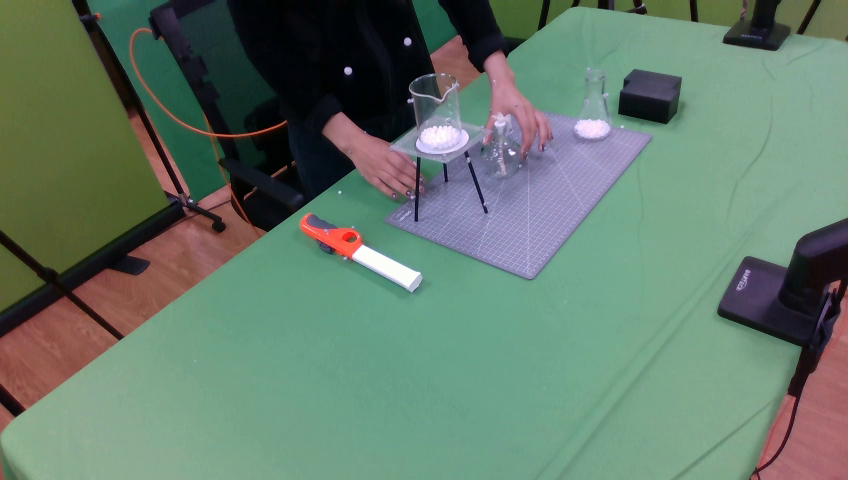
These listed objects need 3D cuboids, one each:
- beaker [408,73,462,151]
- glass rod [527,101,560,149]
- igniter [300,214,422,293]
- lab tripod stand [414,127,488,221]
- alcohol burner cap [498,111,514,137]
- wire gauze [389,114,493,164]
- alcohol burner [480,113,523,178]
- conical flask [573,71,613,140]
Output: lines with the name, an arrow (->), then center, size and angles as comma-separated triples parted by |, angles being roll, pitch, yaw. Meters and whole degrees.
beaker -> 0.021, -0.196, 0.943 | 0.074, 0.101, 0.083 | -17, 40, -7
glass rod -> 0.240, -0.237, 1.223 | 0.008, 0.008, 0.198 | -12, 40, -2
igniter -> -0.113, 0.016, 0.983 | 0.274, 0.025, 0.057 | 26, 62, 35
lab tripod stand -> 0.035, -0.114, 1.021 | 0.148, 0.132, 0.147 | -7, 39, 6
alcohol burner cap -> 0.163, -0.235, 1.211 | 0.034, 0.048, 0.033 | -6, 40, 6
wire gauze -> 0.027, -0.163, 0.978 | 0.120, 0.011, 0.125 | 22, 50, 36
alcohol burner -> 0.139, -0.173, 1.087 | 0.078, 0.119, 0.077 | -5, 38, 4
conical flask -> 0.321, -0.256, 1.142 | 0.075, 0.122, 0.075 | -5, 40, 5
